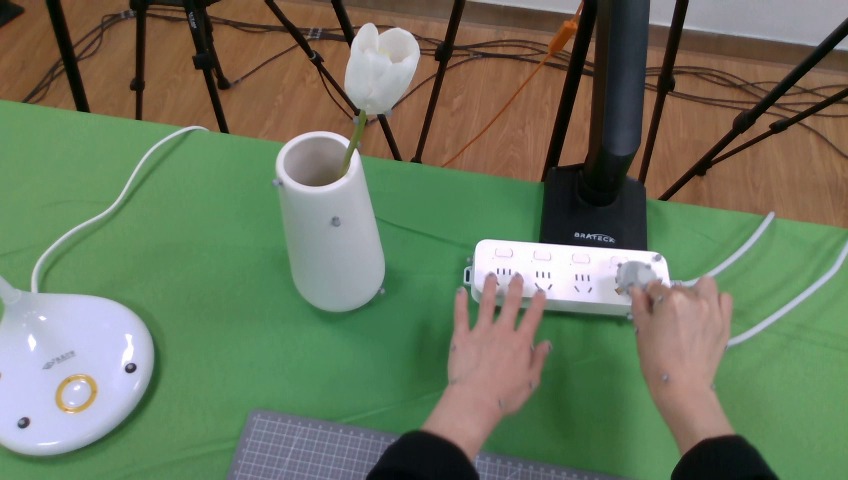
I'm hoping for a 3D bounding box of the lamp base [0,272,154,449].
[{"bbox_3d":[-0.355,0.073,0.530,0.177,0.182,0.160,38,63,24],"label":"lamp base"}]

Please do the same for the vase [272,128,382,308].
[{"bbox_3d":[-0.094,-0.015,0.585,0.098,0.201,0.097,0,56,0],"label":"vase"}]

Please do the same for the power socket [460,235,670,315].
[{"bbox_3d":[0.153,0.038,0.658,0.227,0.033,0.071,5,58,1],"label":"power socket"}]

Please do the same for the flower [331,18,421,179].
[{"bbox_3d":[-0.074,-0.050,0.510,0.044,0.362,0.038,-27,78,-28],"label":"flower"}]

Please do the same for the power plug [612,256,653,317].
[{"bbox_3d":[0.206,0.048,0.611,0.035,0.053,0.072,20,60,-1],"label":"power plug"}]
